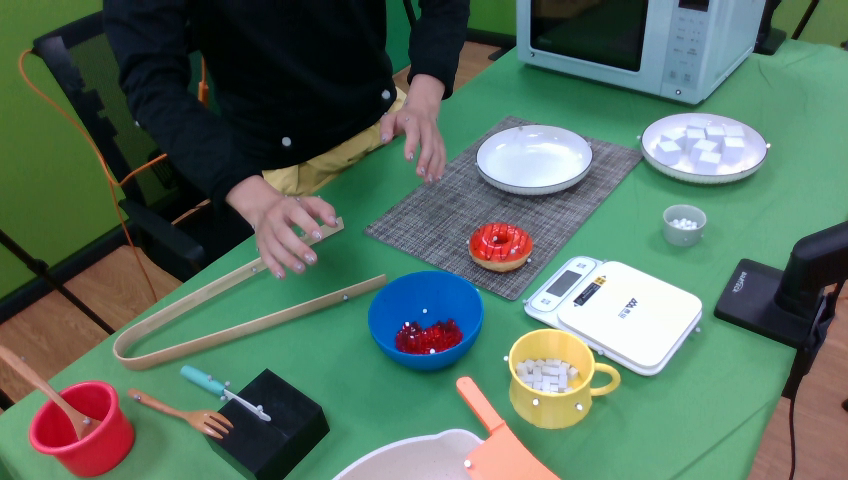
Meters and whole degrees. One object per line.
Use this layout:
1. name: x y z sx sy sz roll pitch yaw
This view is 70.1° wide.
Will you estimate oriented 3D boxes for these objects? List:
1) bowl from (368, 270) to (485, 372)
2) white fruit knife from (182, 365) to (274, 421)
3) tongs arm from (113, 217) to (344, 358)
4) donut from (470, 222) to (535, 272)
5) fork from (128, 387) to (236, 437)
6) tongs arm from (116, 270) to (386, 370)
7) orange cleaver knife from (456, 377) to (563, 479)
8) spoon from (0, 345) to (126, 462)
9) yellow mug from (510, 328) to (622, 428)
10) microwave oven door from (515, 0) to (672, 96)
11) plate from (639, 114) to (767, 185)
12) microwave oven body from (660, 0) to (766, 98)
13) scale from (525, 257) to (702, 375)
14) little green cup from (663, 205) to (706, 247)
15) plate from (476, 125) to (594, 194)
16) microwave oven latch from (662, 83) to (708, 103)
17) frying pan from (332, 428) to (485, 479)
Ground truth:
1. bowl: 0.007 0.118 0.791 0.151 0.077 0.150 -4 40 4
2. white fruit knife: -0.245 0.188 0.747 0.205 0.027 0.016 9 41 41
3. tongs arm: -0.281 0.067 0.927 0.386 0.026 0.050 -29 46 -22
4. donut: 0.119 0.009 0.923 0.099 0.048 0.098 -4 38 3
5. fork: -0.305 0.207 0.744 0.206 0.019 0.028 3 39 36
6. tongs arm: -0.239 0.112 0.868 0.389 0.028 0.028 -18 47 -11
7. orange cleaver knife: 0.081 0.220 0.611 0.077 0.012 0.209 -26 43 -22
8. spoon: -0.434 0.192 0.720 0.194 0.021 0.042 47 53 -7
9. yellow mug: 0.169 0.164 0.722 0.130 0.064 0.099 0 40 8
10. microwave oven door: 0.343 -0.454 1.259 0.353 0.245 0.039 26 51 33
11. plate: 0.489 -0.157 1.074 0.207 0.039 0.206 -4 40 4
12. microwave oven body: 0.472 -0.513 1.317 0.438 0.261 0.327 26 51 34
13. scale: 0.254 0.091 0.821 0.199 0.032 0.149 28 51 35
14. little green cup: 0.396 -0.020 0.926 0.061 0.039 0.061 -4 40 4
15. plate: 0.199 -0.141 1.093 0.209 0.038 0.208 -4 40 4
16. microwave oven latch: 0.517 -0.296 1.204 0.078 0.029 0.030 28 52 35
17. frying pan: -0.089 0.306 0.564 0.487 0.103 0.306 10 41 7
